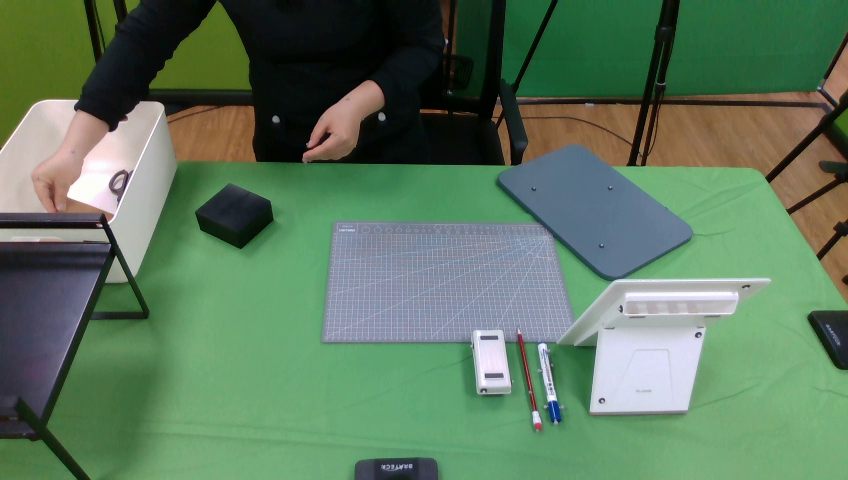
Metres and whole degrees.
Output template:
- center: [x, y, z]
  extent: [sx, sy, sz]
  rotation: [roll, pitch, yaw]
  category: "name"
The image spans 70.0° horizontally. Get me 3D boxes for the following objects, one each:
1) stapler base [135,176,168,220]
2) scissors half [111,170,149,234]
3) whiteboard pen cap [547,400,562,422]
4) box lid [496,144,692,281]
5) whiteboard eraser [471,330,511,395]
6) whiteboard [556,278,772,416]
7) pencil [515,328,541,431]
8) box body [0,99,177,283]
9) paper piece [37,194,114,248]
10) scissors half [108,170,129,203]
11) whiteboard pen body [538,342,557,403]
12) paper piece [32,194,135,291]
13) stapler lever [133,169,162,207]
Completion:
- center: [-0.557, -0.092, 1.237]
  extent: [0.041, 0.024, 0.129]
  rotation: [0, 44, -7]
  category: "stapler base"
- center: [-0.597, -0.078, 1.224]
  extent: [0.040, 0.013, 0.174]
  rotation: [7, 51, 1]
  category: "scissors half"
- center: [0.205, 0.269, 0.956]
  extent: [0.018, 0.018, 0.033]
  rotation: [0, 47, -5]
  category: "whiteboard pen cap"
- center: [0.360, -0.074, 1.305]
  extent: [0.263, 0.015, 0.369]
  rotation: [-24, 52, -25]
  category: "box lid"
- center: [0.110, 0.202, 0.998]
  extent: [0.055, 0.042, 0.112]
  rotation: [1, 46, -5]
  category: "whiteboard eraser"
- center: [0.347, 0.174, 0.903]
  extent: [0.217, 0.306, 0.143]
  rotation: [1, 65, -4]
  category: "whiteboard"
- center: [0.169, 0.224, 1.002]
  extent: [0.012, 0.012, 0.192]
  rotation: [-2, 46, -6]
  category: "pencil"
- center: [-0.639, -0.095, 1.140]
  extent: [0.254, 0.161, 0.361]
  rotation: [0, 46, -4]
  category: "box body"
- center: [-0.606, -0.009, 1.103]
  extent: [0.136, 0.004, 0.135]
  rotation: [26, 40, -25]
  category: "paper piece"
- center: [-0.618, -0.077, 1.222]
  extent: [0.040, 0.013, 0.174]
  rotation: [-14, 52, -9]
  category: "scissors half"
- center: [0.205, 0.228, 0.997]
  extent: [0.017, 0.017, 0.140]
  rotation: [1, 46, -3]
  category: "whiteboard pen body"
- center: [-0.619, 0.003, 1.112]
  extent: [0.008, 0.137, 0.137]
  rotation: [-21, 42, 31]
  category: "paper piece"
- center: [-0.557, -0.112, 1.220]
  extent: [0.027, 0.040, 0.117]
  rotation: [0, 43, -7]
  category: "stapler lever"
